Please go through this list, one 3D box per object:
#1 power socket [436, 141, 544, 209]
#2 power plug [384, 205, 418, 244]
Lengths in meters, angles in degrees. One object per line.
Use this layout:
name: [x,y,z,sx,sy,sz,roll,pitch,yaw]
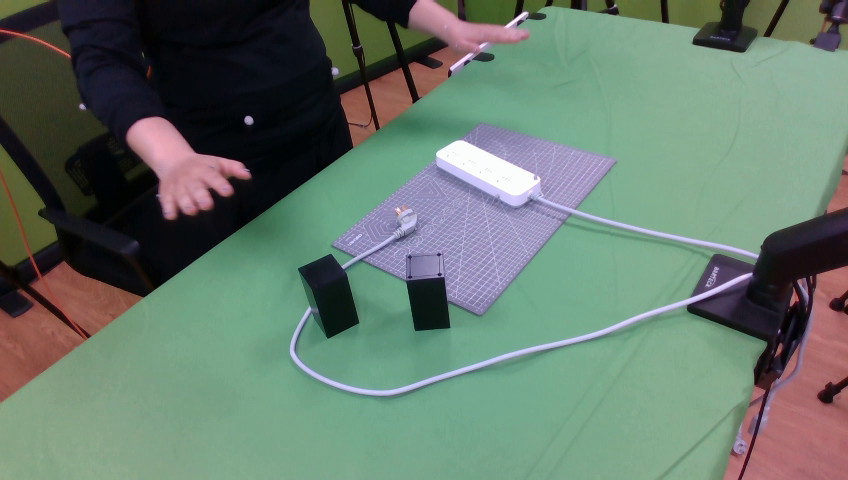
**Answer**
power socket: [0.111,-0.120,1.082,0.072,0.033,0.224,-34,47,-27]
power plug: [-0.043,-0.030,0.991,0.073,0.035,0.052,-20,58,-31]
